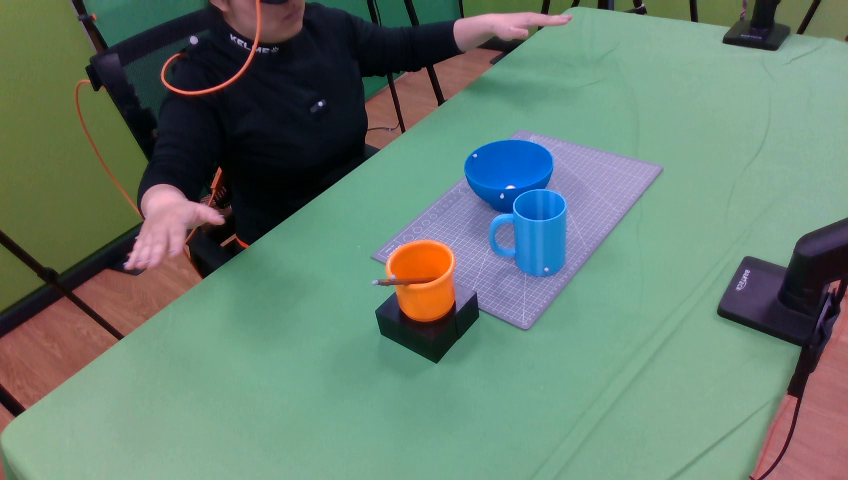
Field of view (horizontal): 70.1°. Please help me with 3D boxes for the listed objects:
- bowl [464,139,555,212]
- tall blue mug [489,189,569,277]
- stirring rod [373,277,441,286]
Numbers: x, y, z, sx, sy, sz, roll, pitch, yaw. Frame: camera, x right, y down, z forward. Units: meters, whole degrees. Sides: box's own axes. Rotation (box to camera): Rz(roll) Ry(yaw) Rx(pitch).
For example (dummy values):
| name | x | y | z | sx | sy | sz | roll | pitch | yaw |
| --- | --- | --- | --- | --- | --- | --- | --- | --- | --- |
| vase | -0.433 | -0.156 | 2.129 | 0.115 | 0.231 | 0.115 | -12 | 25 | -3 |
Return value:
| name | x | y | z | sx | sy | sz | roll | pitch | yaw |
| --- | --- | --- | --- | --- | --- | --- | --- | --- | --- |
| bowl | 0.145 | -0.100 | 1.025 | 0.151 | 0.077 | 0.150 | -5 | 40 | 5 |
| tall blue mug | 0.158 | -0.005 | 0.886 | 0.107 | 0.108 | 0.077 | -23 | 43 | -16 |
| stirring rod | -0.017 | 0.051 | 0.757 | 0.014 | 0.006 | 0.177 | 10 | 2 | 24 |
